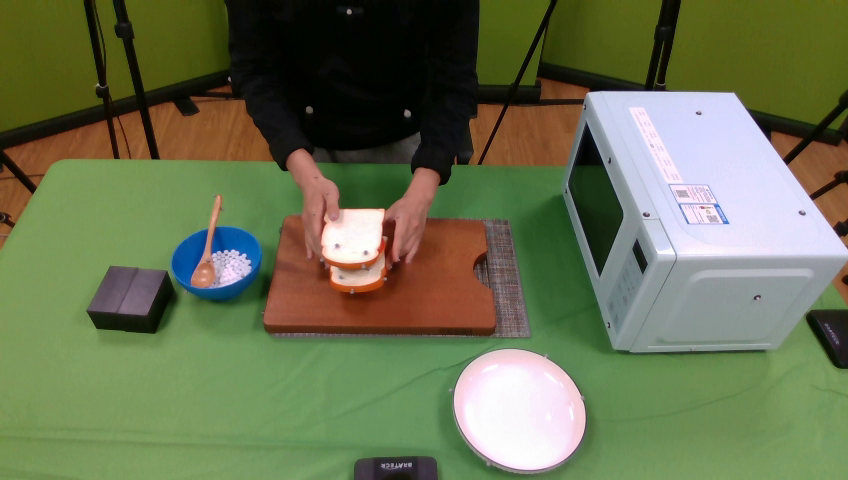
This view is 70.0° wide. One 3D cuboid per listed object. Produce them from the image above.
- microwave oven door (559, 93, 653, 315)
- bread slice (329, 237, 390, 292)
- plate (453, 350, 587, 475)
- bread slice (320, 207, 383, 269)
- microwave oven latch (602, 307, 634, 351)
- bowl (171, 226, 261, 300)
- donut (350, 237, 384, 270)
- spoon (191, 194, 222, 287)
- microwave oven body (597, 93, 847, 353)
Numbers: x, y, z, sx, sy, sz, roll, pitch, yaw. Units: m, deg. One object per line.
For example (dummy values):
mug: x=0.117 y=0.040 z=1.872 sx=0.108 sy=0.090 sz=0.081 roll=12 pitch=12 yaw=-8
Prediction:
microwave oven door: x=0.327 y=-0.074 z=1.123 sx=0.039 sy=0.245 sz=0.353 roll=-1 pitch=46 yaw=-5
bread slice: x=-0.115 y=0.040 z=1.066 sx=0.105 sy=0.019 sz=0.130 roll=-2 pitch=41 yaw=2
plate: x=0.147 y=0.267 z=0.943 sx=0.208 sy=0.039 sz=0.206 roll=2 pitch=45 yaw=-2
bread slice: x=-0.121 y=-0.006 z=1.028 sx=0.107 sy=0.018 sz=0.133 roll=-3 pitch=47 yaw=-2
microwave oven latch: x=0.332 y=0.153 z=1.044 sx=0.030 sy=0.029 sz=0.078 roll=-1 pitch=45 yaw=-4
bowl: x=-0.364 y=0.054 z=1.081 sx=0.151 sy=0.077 sz=0.150 roll=3 pitch=45 yaw=-3
donut: x=-0.119 y=0.013 z=1.051 sx=0.099 sy=0.048 sz=0.098 roll=2 pitch=43 yaw=-2
spoon: x=-0.383 y=0.000 z=1.088 sx=0.041 sy=0.022 sz=0.193 roll=-1 pitch=66 yaw=6
microwave oven body: x=0.475 y=-0.041 z=1.109 sx=0.326 sy=0.261 sz=0.438 roll=-1 pitch=45 yaw=-4
